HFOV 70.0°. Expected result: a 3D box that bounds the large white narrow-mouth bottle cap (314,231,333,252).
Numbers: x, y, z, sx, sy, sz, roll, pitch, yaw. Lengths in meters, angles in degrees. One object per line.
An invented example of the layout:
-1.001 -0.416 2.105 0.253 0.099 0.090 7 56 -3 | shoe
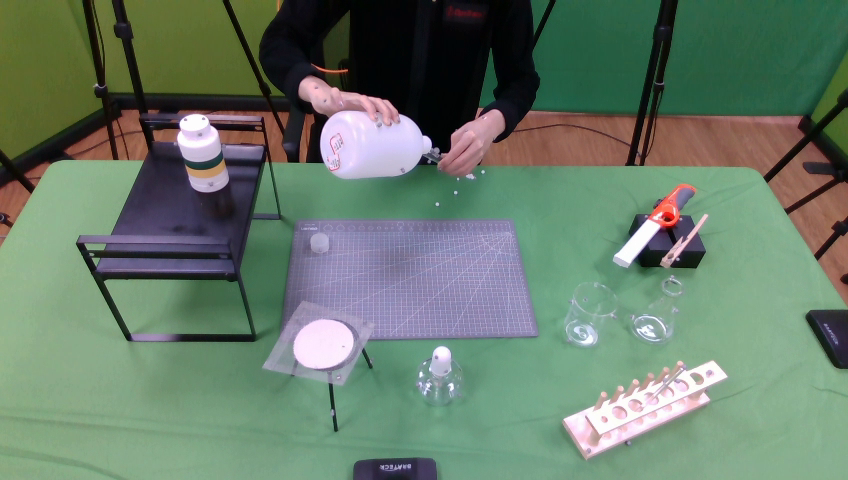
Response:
-0.195 0.003 1.178 0.038 0.024 0.037 2 45 -2 | large white narrow-mouth bottle cap

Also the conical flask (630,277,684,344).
0.408 0.117 1.045 0.075 0.122 0.075 2 46 -2 | conical flask

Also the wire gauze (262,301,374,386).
-0.150 0.148 0.873 0.121 0.011 0.124 14 46 12 | wire gauze

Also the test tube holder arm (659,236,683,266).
0.472 0.020 1.149 0.010 0.015 0.088 35 54 27 | test tube holder arm

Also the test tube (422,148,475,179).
0.046 -0.137 1.094 0.151 0.017 0.017 19 27 -49 | test tube

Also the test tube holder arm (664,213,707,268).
0.507 -0.001 1.171 0.013 0.015 0.178 34 54 26 | test tube holder arm

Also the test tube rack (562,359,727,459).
0.341 0.247 0.940 0.243 0.085 0.066 -16 49 -18 | test tube rack

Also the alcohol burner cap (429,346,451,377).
0.026 0.180 0.912 0.034 0.048 0.033 1 47 -1 | alcohol burner cap

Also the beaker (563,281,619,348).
0.283 0.129 1.041 0.074 0.101 0.083 11 46 6 | beaker

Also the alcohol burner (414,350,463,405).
0.023 0.205 0.939 0.078 0.120 0.077 1 48 -1 | alcohol burner

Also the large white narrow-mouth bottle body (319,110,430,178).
-0.064 -0.152 0.965 0.195 0.102 0.101 -10 43 -47 | large white narrow-mouth bottle body

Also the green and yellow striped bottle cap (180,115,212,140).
-0.358 -0.177 0.951 0.045 0.020 0.045 2 45 -2 | green and yellow striped bottle cap

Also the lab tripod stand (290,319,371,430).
-0.146 0.193 0.923 0.148 0.132 0.147 1 47 -1 | lab tripod stand

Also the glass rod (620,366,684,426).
0.323 0.227 0.866 0.008 0.200 0.008 5 51 -6 | glass rod

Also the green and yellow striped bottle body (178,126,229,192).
-0.361 -0.142 0.989 0.063 0.120 0.063 2 46 -2 | green and yellow striped bottle body

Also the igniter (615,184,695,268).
0.459 -0.035 1.196 0.057 0.025 0.276 33 55 27 | igniter
